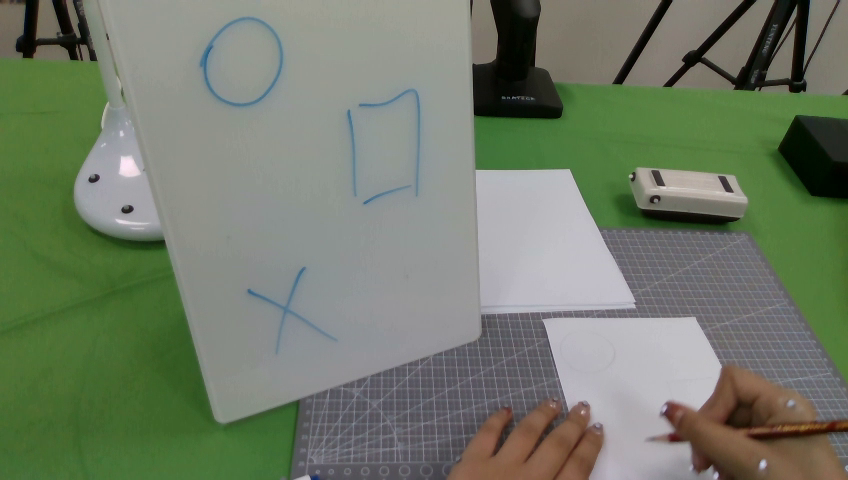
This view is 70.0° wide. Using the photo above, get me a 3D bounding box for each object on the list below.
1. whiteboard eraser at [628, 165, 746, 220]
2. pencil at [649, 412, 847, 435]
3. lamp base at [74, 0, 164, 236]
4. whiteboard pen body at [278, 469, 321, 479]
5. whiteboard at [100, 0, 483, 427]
[{"bbox_3d":[0.283,-0.050,0.657,0.113,0.042,0.055,6,43,-1],"label":"whiteboard eraser"},{"bbox_3d":[0.225,0.109,0.362,0.012,0.193,0.012,53,44,-16],"label":"pencil"},{"bbox_3d":[-0.267,-0.122,0.563,0.178,0.182,0.160,29,47,27],"label":"lamp base"},{"bbox_3d":[-0.133,0.172,0.377,0.141,0.017,0.017,-12,45,-21],"label":"whiteboard pen body"},{"bbox_3d":[-0.086,-0.053,0.462,0.218,0.307,0.142,-14,27,-20],"label":"whiteboard"}]
